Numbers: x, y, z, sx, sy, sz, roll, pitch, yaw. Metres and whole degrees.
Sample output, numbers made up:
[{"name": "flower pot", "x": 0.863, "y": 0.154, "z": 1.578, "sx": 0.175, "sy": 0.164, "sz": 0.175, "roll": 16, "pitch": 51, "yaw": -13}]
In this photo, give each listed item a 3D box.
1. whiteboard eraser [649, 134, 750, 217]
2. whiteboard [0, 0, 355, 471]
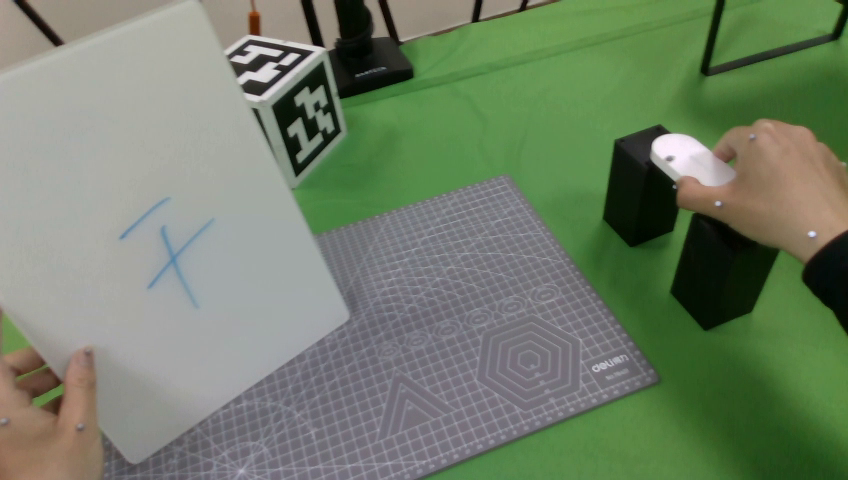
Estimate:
[{"name": "whiteboard eraser", "x": 0.230, "y": -0.057, "z": 0.511, "sx": 0.041, "sy": 0.019, "sz": 0.100, "roll": -19, "pitch": 47, "yaw": -12}, {"name": "whiteboard", "x": -0.233, "y": -0.009, "z": 0.513, "sx": 0.217, "sy": 0.308, "sz": 0.142, "roll": -34, "pitch": 31, "yaw": -22}]
